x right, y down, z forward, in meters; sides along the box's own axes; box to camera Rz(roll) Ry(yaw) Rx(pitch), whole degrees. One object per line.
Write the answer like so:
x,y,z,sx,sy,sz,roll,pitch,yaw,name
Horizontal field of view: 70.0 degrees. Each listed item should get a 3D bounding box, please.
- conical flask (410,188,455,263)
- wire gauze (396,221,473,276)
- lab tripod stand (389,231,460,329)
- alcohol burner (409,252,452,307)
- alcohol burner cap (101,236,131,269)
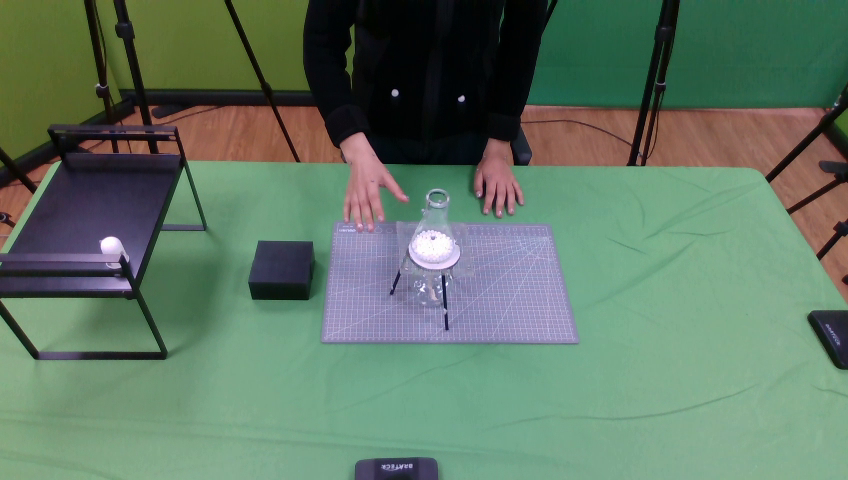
0.017,-0.027,0.971,0.075,0.122,0.075,2,48,-3,conical flask
0.016,0.014,1.014,0.125,0.011,0.120,-1,45,-3,wire gauze
0.015,0.063,1.058,0.148,0.132,0.147,4,46,-4,lab tripod stand
0.013,0.063,1.072,0.078,0.119,0.077,4,45,-3,alcohol burner
-0.451,0.016,0.883,0.034,0.048,0.033,2,45,-2,alcohol burner cap
